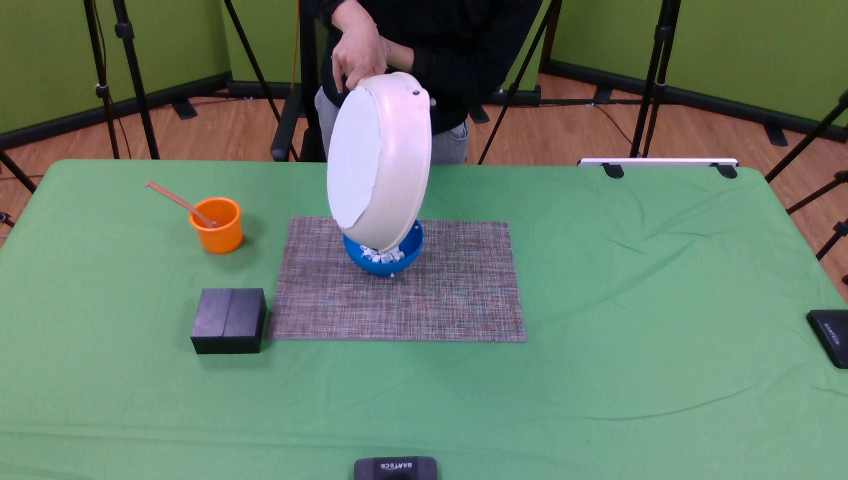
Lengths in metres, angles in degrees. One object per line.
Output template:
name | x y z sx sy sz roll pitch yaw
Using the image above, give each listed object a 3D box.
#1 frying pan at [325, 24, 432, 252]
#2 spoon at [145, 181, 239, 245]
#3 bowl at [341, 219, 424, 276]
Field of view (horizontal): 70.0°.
frying pan | -0.096 -0.210 1.032 0.103 0.307 0.484 13 49 -25
spoon | -0.429 -0.052 1.126 0.021 0.195 0.041 -27 35 34
bowl | -0.079 0.014 1.133 0.151 0.077 0.150 3 46 -2
